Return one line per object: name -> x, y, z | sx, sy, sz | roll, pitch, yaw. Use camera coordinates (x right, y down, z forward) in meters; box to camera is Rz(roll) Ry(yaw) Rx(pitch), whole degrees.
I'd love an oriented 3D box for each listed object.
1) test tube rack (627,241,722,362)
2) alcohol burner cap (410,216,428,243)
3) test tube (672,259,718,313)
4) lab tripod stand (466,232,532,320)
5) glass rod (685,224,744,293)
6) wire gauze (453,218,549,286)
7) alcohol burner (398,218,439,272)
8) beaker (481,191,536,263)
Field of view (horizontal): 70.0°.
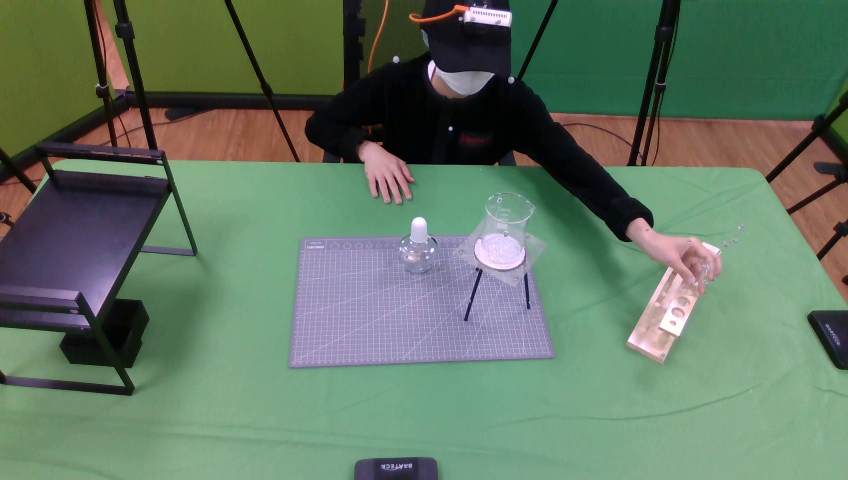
test tube rack -> 0.452, 0.098, 1.087 | 0.066, 0.085, 0.242 | 28, 51, 22
alcohol burner cap -> -0.009, -0.022, 1.099 | 0.034, 0.048, 0.033 | 2, 42, -2
test tube -> 0.459, 0.082, 1.032 | 0.017, 0.151, 0.017 | 3, 52, -4
lab tripod stand -> 0.125, 0.060, 1.065 | 0.148, 0.132, 0.147 | 1, 45, 0
glass rod -> 0.502, 0.039, 1.055 | 0.008, 0.200, 0.008 | 5, 50, -6
wire gauze -> 0.129, 0.014, 1.018 | 0.124, 0.011, 0.121 | 26, 47, 25
alcohol burner -> -0.010, 0.004, 1.123 | 0.078, 0.120, 0.077 | 1, 47, -1
beaker -> 0.134, -0.019, 0.982 | 0.084, 0.101, 0.073 | -5, 46, -8
